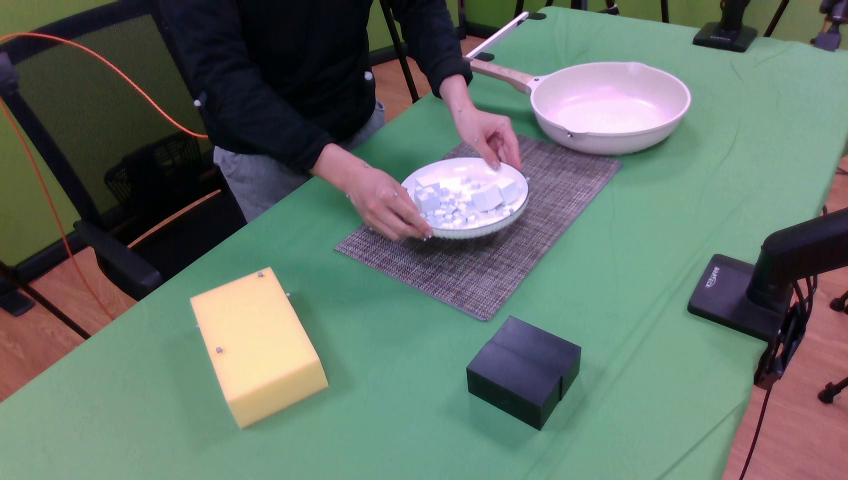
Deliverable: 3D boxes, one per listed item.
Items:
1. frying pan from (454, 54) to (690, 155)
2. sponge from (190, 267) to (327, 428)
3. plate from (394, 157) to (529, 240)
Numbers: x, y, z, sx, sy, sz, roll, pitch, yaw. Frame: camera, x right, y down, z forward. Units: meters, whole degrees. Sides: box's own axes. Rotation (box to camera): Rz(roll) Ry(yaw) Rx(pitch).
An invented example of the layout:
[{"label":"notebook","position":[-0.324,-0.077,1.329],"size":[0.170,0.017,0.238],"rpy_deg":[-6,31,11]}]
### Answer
[{"label":"frying pan","position":[0.270,-0.298,1.211],"size":[0.485,0.103,0.307],"rpy_deg":[27,49,24]},{"label":"sponge","position":[-0.226,0.135,0.814],"size":[0.119,0.061,0.205],"rpy_deg":[-23,43,-19]},{"label":"plate","position":[0.059,-0.061,0.937],"size":[0.207,0.039,0.206],"rpy_deg":[-4,37,3]}]
